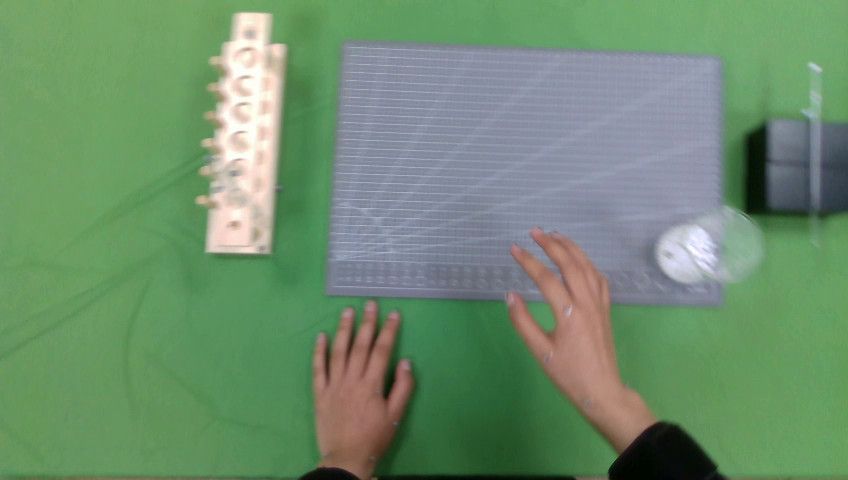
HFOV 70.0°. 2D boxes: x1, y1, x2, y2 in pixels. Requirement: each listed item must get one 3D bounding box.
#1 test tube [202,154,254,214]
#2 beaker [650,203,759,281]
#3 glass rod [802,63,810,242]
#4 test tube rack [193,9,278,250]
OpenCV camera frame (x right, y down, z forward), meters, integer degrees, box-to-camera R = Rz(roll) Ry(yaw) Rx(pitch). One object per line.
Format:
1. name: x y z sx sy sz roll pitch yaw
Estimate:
1. test tube: -0.190 -0.051 0.598 0.017 0.150 0.017 1 76 -4
2. beaker: 0.289 0.006 0.643 0.084 0.100 0.074 4 83 0
3. glass rod: 0.415 -0.096 0.657 0.008 0.008 0.199 4 84 0
4. test tube rack: -0.207 -0.114 0.655 0.067 0.085 0.241 2 84 -1
